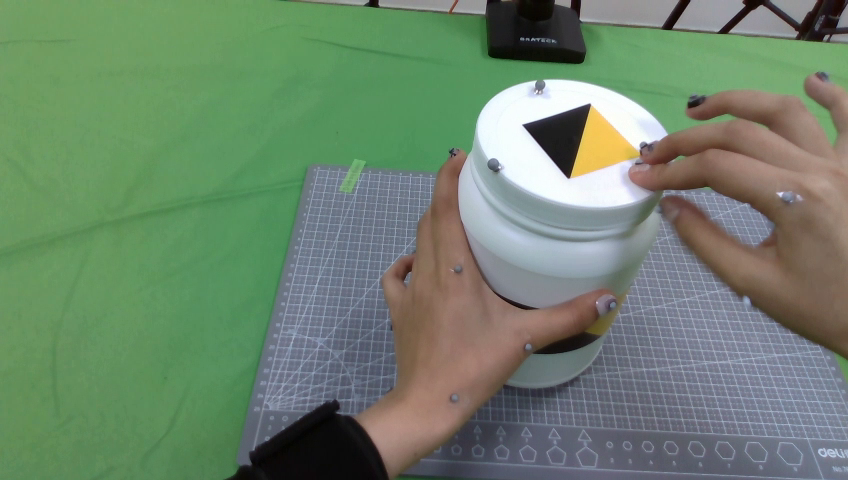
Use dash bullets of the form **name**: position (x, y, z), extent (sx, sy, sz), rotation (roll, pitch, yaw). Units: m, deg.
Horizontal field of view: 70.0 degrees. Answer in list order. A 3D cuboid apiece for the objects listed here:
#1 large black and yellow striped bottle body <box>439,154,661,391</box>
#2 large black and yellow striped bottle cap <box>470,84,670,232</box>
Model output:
- **large black and yellow striped bottle body**: position (0.081, 0.006, 0.420), extent (0.131, 0.185, 0.129), rotation (2, 48, -2)
- **large black and yellow striped bottle cap**: position (0.085, -0.052, 0.356), extent (0.115, 0.019, 0.114), rotation (3, 50, -4)
